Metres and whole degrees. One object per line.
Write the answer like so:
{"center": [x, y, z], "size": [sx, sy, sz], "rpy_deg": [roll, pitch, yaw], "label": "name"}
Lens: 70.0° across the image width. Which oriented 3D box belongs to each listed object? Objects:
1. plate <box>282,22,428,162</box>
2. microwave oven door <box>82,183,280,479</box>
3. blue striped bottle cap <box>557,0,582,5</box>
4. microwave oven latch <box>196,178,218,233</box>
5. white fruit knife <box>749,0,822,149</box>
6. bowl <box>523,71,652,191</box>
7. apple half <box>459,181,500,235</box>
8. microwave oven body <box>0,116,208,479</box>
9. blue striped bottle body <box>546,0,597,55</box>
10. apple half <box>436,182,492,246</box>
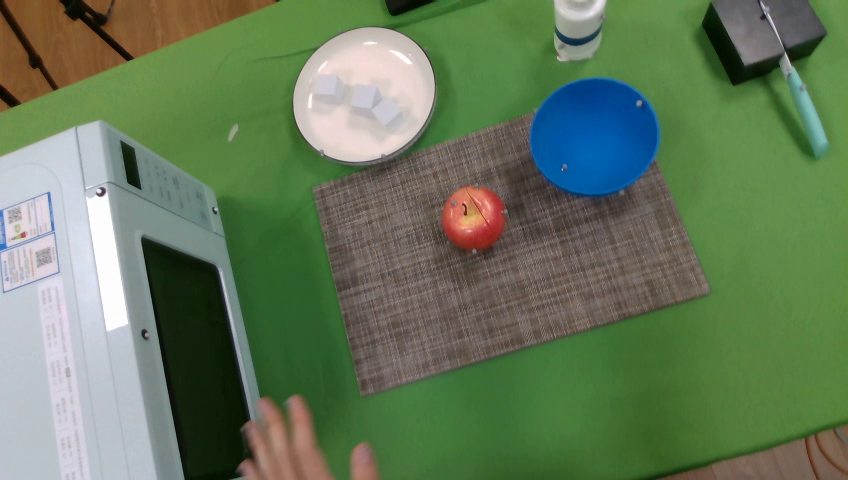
{"center": [-0.095, -0.205, 0.855], "size": [0.207, 0.039, 0.206], "rpy_deg": [-2, 77, 10], "label": "plate"}
{"center": [-0.267, 0.132, 0.686], "size": [0.039, 0.245, 0.353], "rpy_deg": [-20, 74, 6], "label": "microwave oven door"}
{"center": [0.177, -0.307, 0.728], "size": [0.044, 0.021, 0.044], "rpy_deg": [-2, 76, 9], "label": "blue striped bottle cap"}
{"center": [-0.311, -0.044, 0.840], "size": [0.030, 0.030, 0.078], "rpy_deg": [-20, 75, 5], "label": "microwave oven latch"}
{"center": [0.437, -0.209, 0.738], "size": [0.016, 0.027, 0.207], "rpy_deg": [-21, 85, 5], "label": "white fruit knife"}
{"center": [0.200, -0.124, 0.754], "size": [0.151, 0.077, 0.150], "rpy_deg": [-2, 77, 11], "label": "bowl"}
{"center": [0.077, -0.046, 0.763], "size": [0.033, 0.082, 0.081], "rpy_deg": [-33, 73, 5], "label": "apple half"}
{"center": [-0.415, 0.145, 0.716], "size": [0.326, 0.262, 0.439], "rpy_deg": [-20, 75, 5], "label": "microwave oven body"}
{"center": [0.188, -0.295, 0.777], "size": [0.063, 0.121, 0.063], "rpy_deg": [-2, 76, 10], "label": "blue striped bottle body"}
{"center": [0.045, -0.025, 0.765], "size": [0.053, 0.075, 0.080], "rpy_deg": [-34, 76, 7], "label": "apple half"}
